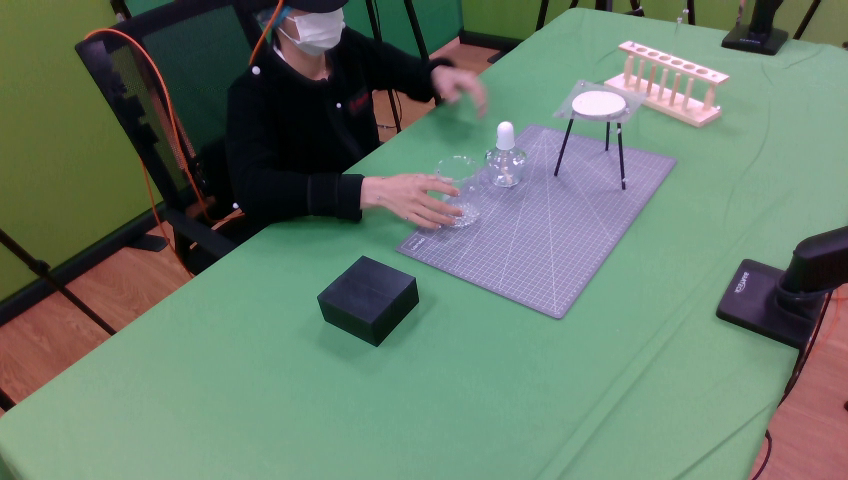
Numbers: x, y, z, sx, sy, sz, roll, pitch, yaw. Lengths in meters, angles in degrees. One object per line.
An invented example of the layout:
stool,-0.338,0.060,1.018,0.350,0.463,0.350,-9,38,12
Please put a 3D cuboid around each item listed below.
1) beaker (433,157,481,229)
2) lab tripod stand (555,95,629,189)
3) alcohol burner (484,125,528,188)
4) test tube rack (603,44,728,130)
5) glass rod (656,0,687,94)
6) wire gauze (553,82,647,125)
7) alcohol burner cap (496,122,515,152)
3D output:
beaker,0.058,-0.077,0.994,0.073,0.101,0.084,20,46,29
lab tripod stand,0.300,-0.174,1.045,0.148,0.132,0.147,-5,38,5
alcohol burner,0.144,-0.152,1.059,0.078,0.119,0.077,-3,41,3
test tube rack,0.480,-0.316,1.227,0.067,0.085,0.240,-28,44,-22
glass rod,0.491,-0.381,1.199,0.008,0.200,0.008,1,41,0
wire gauze,0.293,-0.225,1.002,0.120,0.011,0.125,17,45,27
alcohol burner cap,0.139,-0.179,1.037,0.034,0.048,0.033,-4,44,5
